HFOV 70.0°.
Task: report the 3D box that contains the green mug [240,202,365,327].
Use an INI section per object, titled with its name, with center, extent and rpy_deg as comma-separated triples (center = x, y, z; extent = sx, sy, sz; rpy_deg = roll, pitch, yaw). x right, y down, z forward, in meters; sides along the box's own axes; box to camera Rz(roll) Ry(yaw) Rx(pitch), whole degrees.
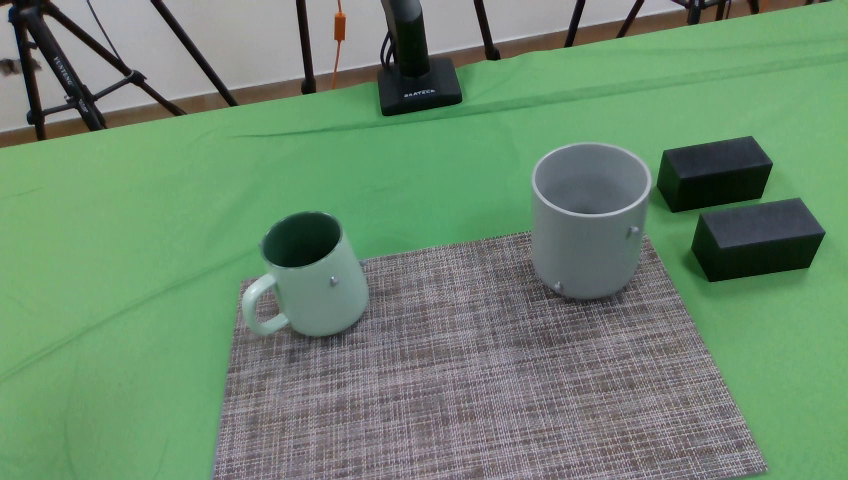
[green mug]
center = -0.123, 0.036, 0.596
extent = 0.091, 0.106, 0.125
rpy_deg = 33, 60, 33

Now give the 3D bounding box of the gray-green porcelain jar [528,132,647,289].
[gray-green porcelain jar]
center = 0.154, -0.023, 0.587
extent = 0.106, 0.128, 0.105
rpy_deg = -5, 46, 6
